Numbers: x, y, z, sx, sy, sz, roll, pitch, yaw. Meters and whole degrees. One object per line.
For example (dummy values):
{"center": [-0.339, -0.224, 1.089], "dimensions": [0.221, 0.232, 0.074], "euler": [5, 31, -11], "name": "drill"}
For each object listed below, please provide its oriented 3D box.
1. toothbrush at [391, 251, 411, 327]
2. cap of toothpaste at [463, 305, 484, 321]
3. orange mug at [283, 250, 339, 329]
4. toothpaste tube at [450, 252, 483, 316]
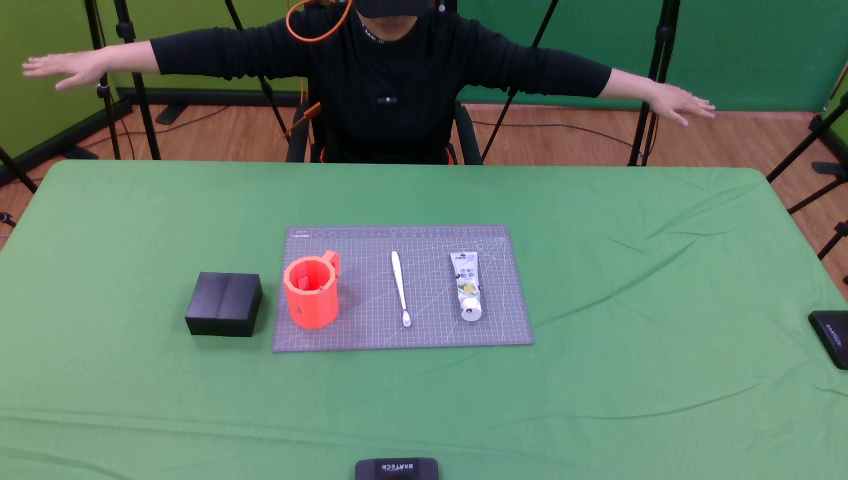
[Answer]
{"center": [-0.044, 0.085, 1.112], "dimensions": [0.014, 0.017, 0.180], "euler": [-14, 46, 1], "name": "toothbrush"}
{"center": [0.087, 0.127, 1.063], "dimensions": [0.037, 0.037, 0.011], "euler": [2, 39, -2], "name": "cap of toothpaste"}
{"center": [-0.186, 0.078, 1.052], "dimensions": [0.083, 0.101, 0.126], "euler": [20, 52, 15], "name": "orange mug"}
{"center": [0.084, 0.077, 1.122], "dimensions": [0.055, 0.035, 0.164], "euler": [3, 41, -8], "name": "toothpaste tube"}
